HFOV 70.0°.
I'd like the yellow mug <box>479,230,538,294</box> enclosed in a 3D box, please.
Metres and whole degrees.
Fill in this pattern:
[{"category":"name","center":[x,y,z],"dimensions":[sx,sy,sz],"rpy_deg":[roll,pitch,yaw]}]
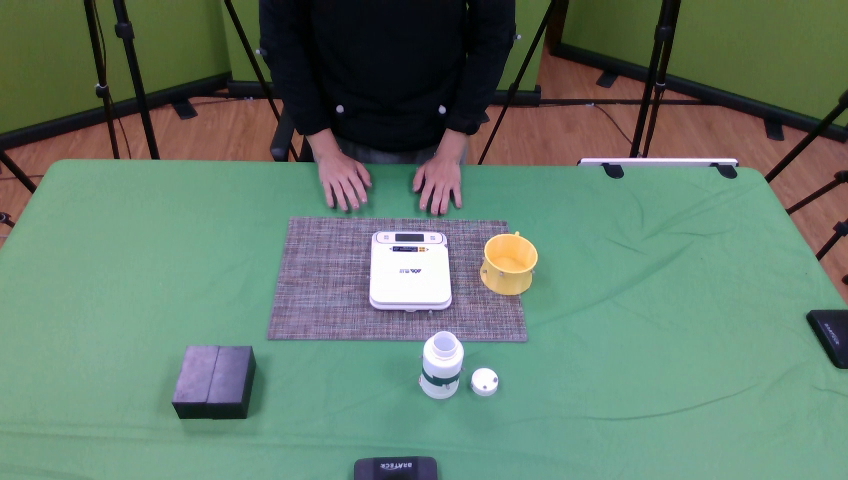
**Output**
[{"category":"yellow mug","center":[0.161,0.033,1.143],"dimensions":[0.100,0.064,0.130],"rpy_deg":[15,46,9]}]

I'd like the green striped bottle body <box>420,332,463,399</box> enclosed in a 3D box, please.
[{"category":"green striped bottle body","center":[0.027,0.193,0.947],"dimensions":[0.063,0.120,0.063],"rpy_deg":[2,47,-2]}]

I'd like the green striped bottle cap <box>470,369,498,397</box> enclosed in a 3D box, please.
[{"category":"green striped bottle cap","center":[0.098,0.232,0.989],"dimensions":[0.044,0.020,0.044],"rpy_deg":[2,40,-1]}]

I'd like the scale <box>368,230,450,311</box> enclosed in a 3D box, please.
[{"category":"scale","center":[-0.029,0.048,1.137],"dimensions":[0.149,0.032,0.199],"rpy_deg":[1,46,-4]}]
